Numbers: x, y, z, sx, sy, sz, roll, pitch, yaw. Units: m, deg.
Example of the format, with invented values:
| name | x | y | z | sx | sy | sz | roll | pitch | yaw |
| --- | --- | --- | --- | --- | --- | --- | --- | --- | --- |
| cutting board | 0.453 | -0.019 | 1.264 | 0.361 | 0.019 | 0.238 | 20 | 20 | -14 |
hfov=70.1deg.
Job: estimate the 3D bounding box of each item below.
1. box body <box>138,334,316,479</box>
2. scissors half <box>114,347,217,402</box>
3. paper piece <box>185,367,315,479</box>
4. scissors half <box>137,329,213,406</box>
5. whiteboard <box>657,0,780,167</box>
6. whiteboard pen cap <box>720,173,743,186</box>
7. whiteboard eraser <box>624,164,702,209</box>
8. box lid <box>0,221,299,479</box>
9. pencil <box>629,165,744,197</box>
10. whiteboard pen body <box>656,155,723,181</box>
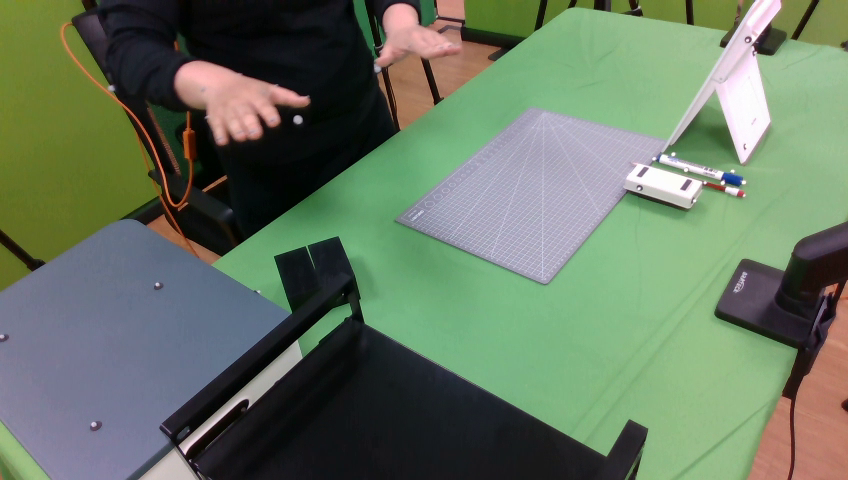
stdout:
| name | x | y | z | sx | sy | sz | roll | pitch | yaw |
| --- | --- | --- | --- | --- | --- | --- | --- | --- | --- |
| box body | -0.339 | 0.162 | 0.728 | 0.361 | 0.161 | 0.255 | 23 | 48 | 31 |
| scissors half | -0.349 | 0.185 | 0.812 | 0.174 | 0.013 | 0.040 | 16 | 52 | 18 |
| paper piece | -0.221 | 0.234 | 0.757 | 0.136 | 0.009 | 0.137 | -39 | 36 | -23 |
| scissors half | -0.336 | 0.173 | 0.824 | 0.040 | 0.013 | 0.174 | -35 | 54 | -30 |
| whiteboard | 0.571 | -0.272 | 1.038 | 0.143 | 0.306 | 0.218 | 36 | 54 | 17 |
| whiteboard pen cap | 0.519 | -0.103 | 1.020 | 0.033 | 0.018 | 0.018 | 23 | 49 | 30 |
| whiteboard eraser | 0.396 | -0.087 | 1.003 | 0.112 | 0.042 | 0.056 | 22 | 47 | 31 |
| box lid | -0.346 | 0.106 | 0.679 | 0.368 | 0.015 | 0.264 | 23 | 49 | 31 |
| pencil | 0.447 | -0.104 | 1.038 | 0.192 | 0.012 | 0.012 | 21 | 48 | 30 |
| whiteboard pen body | 0.475 | -0.123 | 1.052 | 0.139 | 0.017 | 0.017 | 24 | 50 | 32 |
